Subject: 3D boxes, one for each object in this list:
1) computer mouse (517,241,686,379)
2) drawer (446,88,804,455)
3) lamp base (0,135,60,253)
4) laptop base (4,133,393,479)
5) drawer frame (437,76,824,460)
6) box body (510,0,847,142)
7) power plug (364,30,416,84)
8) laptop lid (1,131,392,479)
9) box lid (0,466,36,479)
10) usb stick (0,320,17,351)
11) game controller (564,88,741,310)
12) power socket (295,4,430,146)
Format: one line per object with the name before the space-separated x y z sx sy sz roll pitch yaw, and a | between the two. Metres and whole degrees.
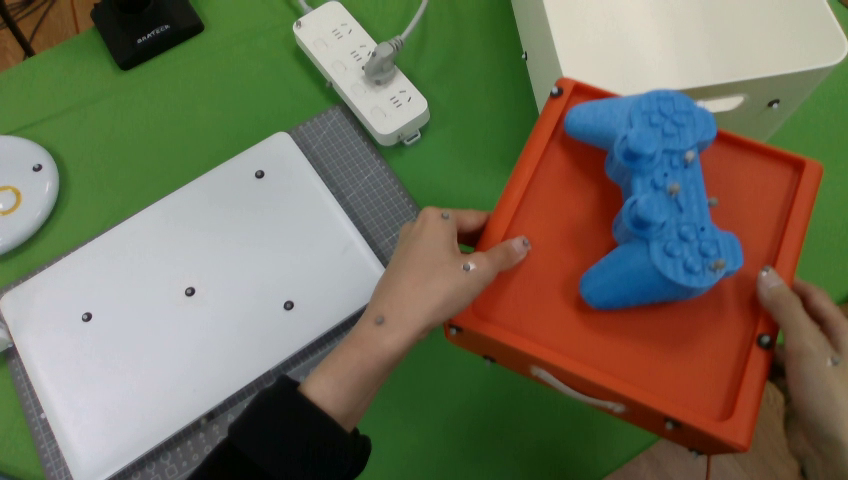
computer mouse | 0.128 0.048 0.441 0.116 0.041 0.062 30 76 17
drawer | 0.146 0.016 0.437 0.194 0.074 0.211 23 71 13
lamp base | -0.521 -0.086 0.634 0.178 0.182 0.160 14 68 13
laptop base | -0.238 0.056 0.642 0.354 0.023 0.234 -34 72 -10
drawer frame | 0.144 0.014 0.437 0.201 0.083 0.212 23 71 13
box body | 0.235 -0.267 0.669 0.254 0.161 0.361 -9 67 0
power plug | -0.035 -0.205 0.707 0.072 0.053 0.035 -24 66 -8
laptop lid | -0.238 0.053 0.630 0.357 0.013 0.240 -32 71 -9
box lid | -0.349 0.361 0.524 0.370 0.015 0.262 15 69 9
usb stick | -0.441 0.100 0.623 0.059 0.027 0.021 -29 62 -12
game controller | 0.149 -0.032 0.399 0.097 0.052 0.154 1 69 0
power socket | -0.077 -0.203 0.734 0.072 0.033 0.225 -34 69 -12
